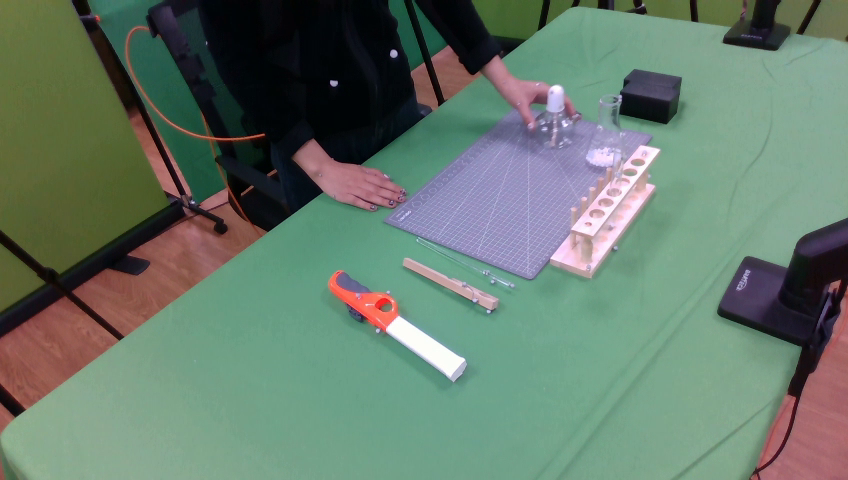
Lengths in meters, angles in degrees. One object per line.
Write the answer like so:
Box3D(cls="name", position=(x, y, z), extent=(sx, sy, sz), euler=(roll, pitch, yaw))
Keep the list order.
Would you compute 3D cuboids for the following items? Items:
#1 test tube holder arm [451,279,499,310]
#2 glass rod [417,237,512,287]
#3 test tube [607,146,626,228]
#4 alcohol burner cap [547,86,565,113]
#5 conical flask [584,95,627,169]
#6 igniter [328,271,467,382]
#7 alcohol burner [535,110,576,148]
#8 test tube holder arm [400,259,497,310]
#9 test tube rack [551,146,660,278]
Box3D(cls="test tube holder arm", position=(0.071, 0.079, 0.882), extent=(0.087, 0.015, 0.010), euler=(24, 13, 34))
Box3D(cls="glass rod", position=(0.059, 0.032, 0.945), extent=(0.198, 0.008, 0.008), euler=(26, 52, 38))
Box3D(cls="test tube", position=(0.283, -0.074, 0.892), extent=(0.017, 0.151, 0.017), euler=(-5, 44, 6))
Box3D(cls="alcohol burner cap", position=(0.244, -0.261, 1.113), extent=(0.034, 0.048, 0.033), euler=(-5, 46, 6))
Box3D(cls="conical flask", position=(0.323, -0.192, 1.066), extent=(0.075, 0.122, 0.075), euler=(-6, 40, 5))
Box3D(cls="igniter", position=(-0.049, 0.114, 0.854), extent=(0.274, 0.025, 0.057), euler=(30, 63, 37))
Box3D(cls="alcohol burner", position=(0.247, -0.234, 1.138), extent=(0.078, 0.119, 0.077), euler=(-4, 39, 4))
Box3D(cls="test tube holder arm", position=(0.033, 0.064, 0.902), extent=(0.177, 0.015, 0.013), euler=(23, 13, 32))
Box3D(cls="test tube rack", position=(0.286, -0.053, 0.944), extent=(0.066, 0.085, 0.243), euler=(21, 49, 32))
